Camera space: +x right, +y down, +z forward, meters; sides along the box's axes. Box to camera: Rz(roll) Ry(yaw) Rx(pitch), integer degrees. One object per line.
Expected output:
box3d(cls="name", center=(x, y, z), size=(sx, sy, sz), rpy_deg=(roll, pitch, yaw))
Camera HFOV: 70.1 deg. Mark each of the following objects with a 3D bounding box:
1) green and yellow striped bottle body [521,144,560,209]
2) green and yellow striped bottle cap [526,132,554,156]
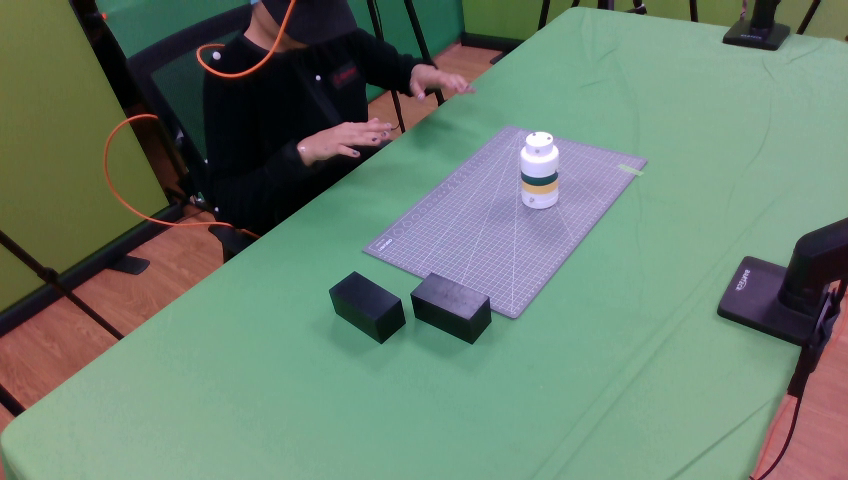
box3d(cls="green and yellow striped bottle body", center=(0.193, -0.116, 1.002), size=(0.063, 0.120, 0.063), rpy_deg=(-5, 40, 5))
box3d(cls="green and yellow striped bottle cap", center=(0.186, -0.154, 0.968), size=(0.045, 0.020, 0.045), rpy_deg=(-5, 38, 5))
